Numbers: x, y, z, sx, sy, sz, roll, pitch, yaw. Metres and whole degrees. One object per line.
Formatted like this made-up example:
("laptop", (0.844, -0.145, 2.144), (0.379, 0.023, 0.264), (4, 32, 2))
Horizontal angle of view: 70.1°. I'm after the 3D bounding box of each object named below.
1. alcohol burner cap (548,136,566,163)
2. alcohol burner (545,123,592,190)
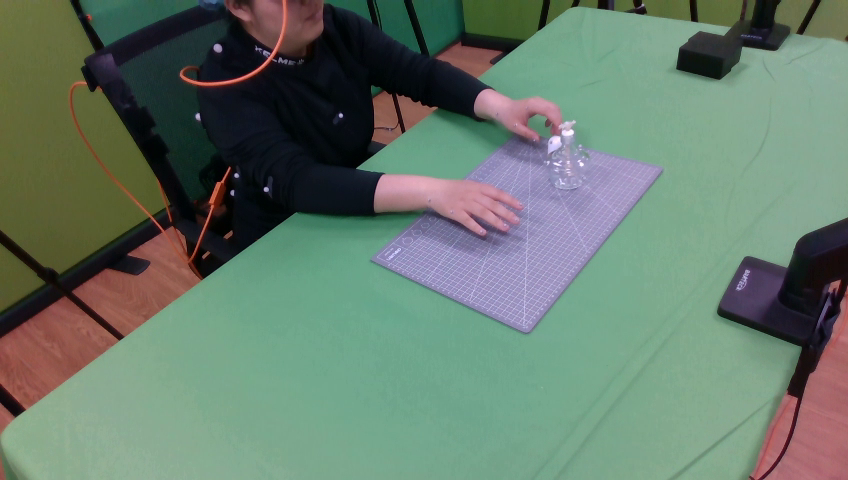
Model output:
("alcohol burner cap", (0.245, -0.170, 1.118), (0.034, 0.048, 0.033), (-7, 40, 6))
("alcohol burner", (0.247, -0.146, 1.034), (0.078, 0.120, 0.077), (-7, 41, 6))
